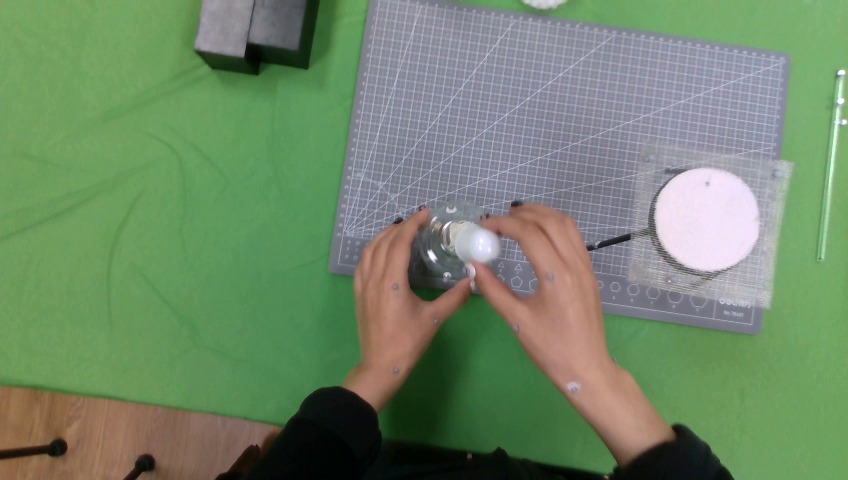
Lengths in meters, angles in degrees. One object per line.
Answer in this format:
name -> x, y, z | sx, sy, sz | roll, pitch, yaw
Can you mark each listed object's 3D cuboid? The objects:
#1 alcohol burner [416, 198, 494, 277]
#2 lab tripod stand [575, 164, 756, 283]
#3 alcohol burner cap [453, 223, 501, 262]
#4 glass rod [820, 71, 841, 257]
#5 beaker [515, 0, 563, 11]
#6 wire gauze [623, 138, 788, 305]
alcohol burner -> 0.030, -0.003, 0.571 | 0.078, 0.119, 0.078 | 0, 88, 0
lab tripod stand -> 0.226, -0.011, 0.564 | 0.148, 0.131, 0.148 | 0, 88, 1
alcohol burner cap -> 0.045, 0.003, 0.488 | 0.034, 0.047, 0.034 | -1, 92, -14
glass rod -> 0.426, -0.080, 0.634 | 0.008, 0.008, 0.199 | 7, 86, 0
beaker -> 0.124, -0.278, 0.599 | 0.084, 0.100, 0.074 | 44, 87, 2
wire gauze -> 0.230, -0.016, 0.497 | 0.125, 0.011, 0.121 | 10, 87, 1
